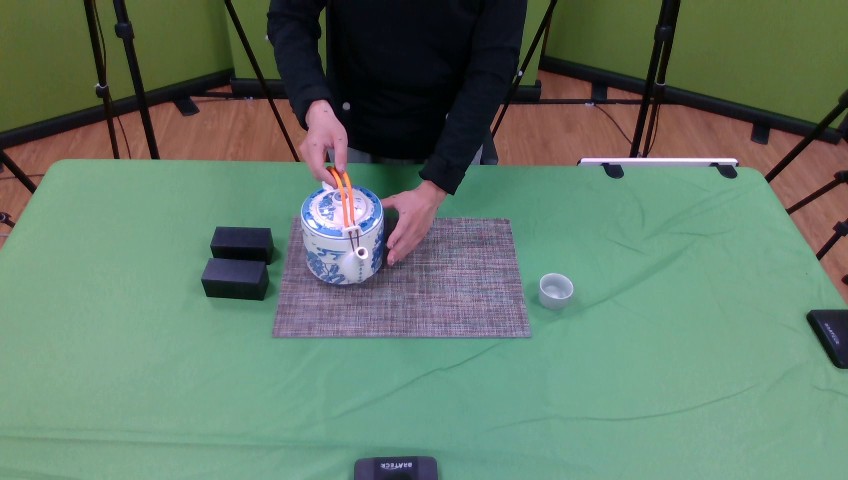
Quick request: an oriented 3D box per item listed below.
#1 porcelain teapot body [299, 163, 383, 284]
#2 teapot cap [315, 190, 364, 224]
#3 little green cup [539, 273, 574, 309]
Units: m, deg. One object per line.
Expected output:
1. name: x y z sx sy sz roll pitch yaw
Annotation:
1. porcelain teapot body: -0.134 -0.015 1.056 0.145 0.226 0.204 -16 50 -19
2. teapot cap: -0.145 -0.061 1.045 0.085 0.044 0.084 1 49 -1
3. little green cup: 0.240 0.096 1.113 0.061 0.039 0.061 2 47 -2
